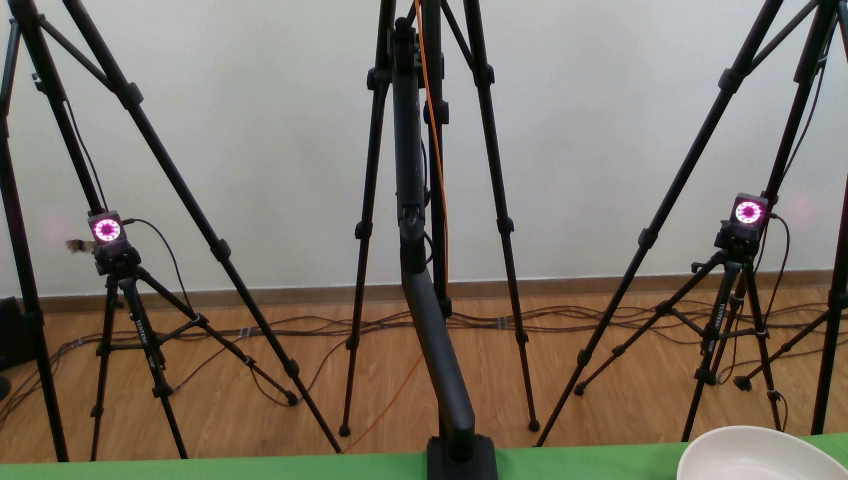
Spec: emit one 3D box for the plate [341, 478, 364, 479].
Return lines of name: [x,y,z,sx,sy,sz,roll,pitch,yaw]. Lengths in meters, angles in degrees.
plate: [-0.121,0.463,0.919,0.208,0.039,0.205,-1,35,1]

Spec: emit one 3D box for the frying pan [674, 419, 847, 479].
frying pan: [0.524,0.458,0.840,0.306,0.103,0.484,1,27,5]
